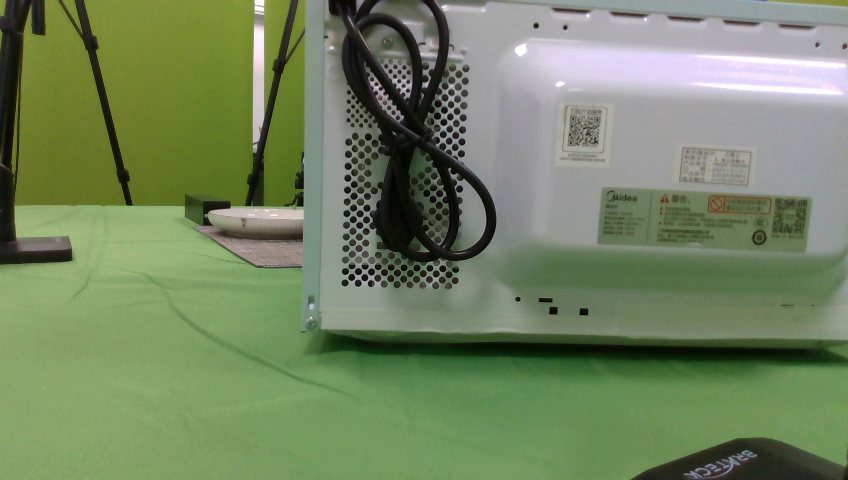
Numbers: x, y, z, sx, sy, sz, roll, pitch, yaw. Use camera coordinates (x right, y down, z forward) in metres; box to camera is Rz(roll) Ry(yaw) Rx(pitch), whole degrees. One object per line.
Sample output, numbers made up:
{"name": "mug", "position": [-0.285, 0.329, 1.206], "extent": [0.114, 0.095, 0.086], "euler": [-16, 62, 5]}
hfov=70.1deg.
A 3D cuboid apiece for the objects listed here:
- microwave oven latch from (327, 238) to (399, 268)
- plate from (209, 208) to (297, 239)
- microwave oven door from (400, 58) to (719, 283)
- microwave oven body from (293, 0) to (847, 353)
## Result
{"name": "microwave oven latch", "position": [-0.069, 0.015, 0.694], "extent": [0.079, 0.029, 0.030], "euler": [3, 7, -3]}
{"name": "plate", "position": [-0.271, -0.029, 1.073], "extent": [0.208, 0.039, 0.207], "euler": [3, 7, 0]}
{"name": "microwave oven door", "position": [0.155, -0.078, 0.705], "extent": [0.356, 0.243, 0.039], "euler": [2, 8, -2]}
{"name": "microwave oven body", "position": [0.122, -0.055, 0.550], "extent": [0.442, 0.260, 0.325], "euler": [3, 7, -5]}
